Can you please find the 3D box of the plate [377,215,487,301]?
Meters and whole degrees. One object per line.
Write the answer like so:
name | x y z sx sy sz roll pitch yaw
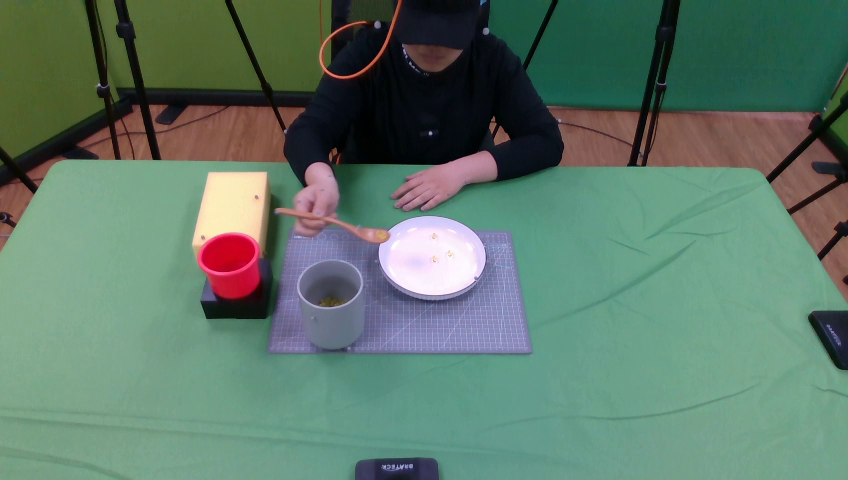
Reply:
plate | 0.015 0.037 1.147 0.208 0.039 0.206 2 46 -2

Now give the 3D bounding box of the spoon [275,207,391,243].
spoon | -0.149 -0.029 1.002 0.194 0.022 0.041 18 33 -17

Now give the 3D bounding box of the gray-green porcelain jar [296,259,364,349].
gray-green porcelain jar | -0.152 0.111 1.003 0.106 0.127 0.105 2 46 -2

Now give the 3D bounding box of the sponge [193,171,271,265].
sponge | -0.371 -0.047 1.189 0.118 0.061 0.205 -3 47 -6
